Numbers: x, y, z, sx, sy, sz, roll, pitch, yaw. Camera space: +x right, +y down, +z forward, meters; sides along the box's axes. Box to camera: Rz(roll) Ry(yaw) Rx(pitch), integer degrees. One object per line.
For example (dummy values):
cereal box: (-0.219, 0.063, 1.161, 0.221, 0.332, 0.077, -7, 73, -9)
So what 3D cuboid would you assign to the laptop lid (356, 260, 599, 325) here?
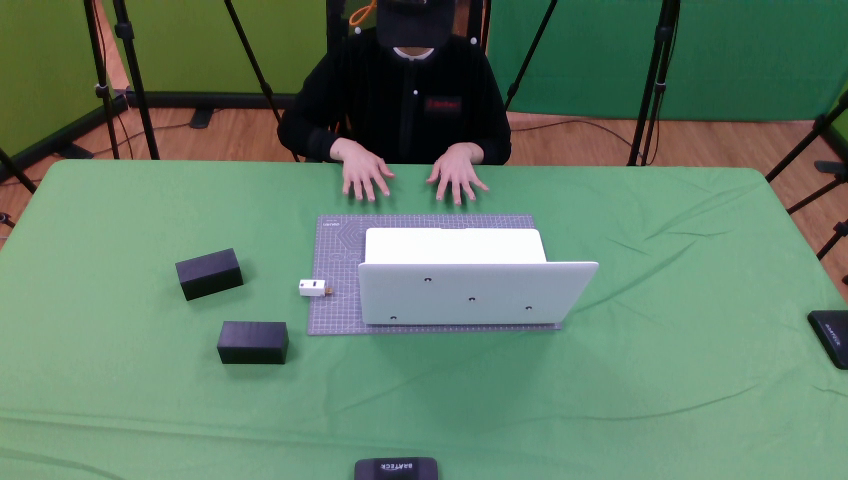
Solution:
laptop lid: (0.074, 0.089, 0.958, 0.357, 0.242, 0.013, 1, 60, -5)

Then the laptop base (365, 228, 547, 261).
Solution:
laptop base: (0.064, 0.063, 1.143, 0.355, 0.023, 0.234, 0, 42, -4)

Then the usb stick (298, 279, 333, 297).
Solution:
usb stick: (-0.195, 0.087, 1.092, 0.059, 0.027, 0.021, 5, 46, -3)
